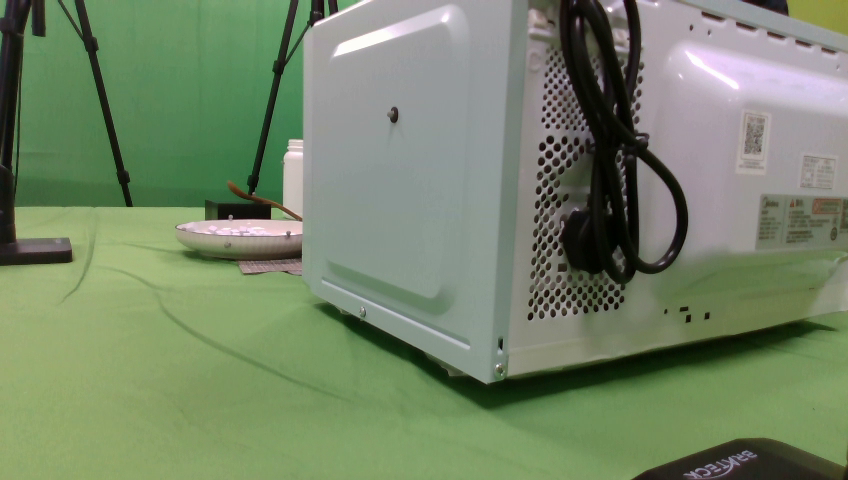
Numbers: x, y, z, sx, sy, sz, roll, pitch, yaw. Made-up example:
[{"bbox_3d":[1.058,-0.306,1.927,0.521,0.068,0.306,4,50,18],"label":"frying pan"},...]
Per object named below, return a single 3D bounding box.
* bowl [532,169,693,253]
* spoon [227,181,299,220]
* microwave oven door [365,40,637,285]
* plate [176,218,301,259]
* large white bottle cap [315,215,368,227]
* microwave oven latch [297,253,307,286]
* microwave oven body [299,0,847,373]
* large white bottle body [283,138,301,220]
[{"bbox_3d":[0.181,-0.030,0.596,0.151,0.077,0.151,1,6,0],"label":"bowl"},{"bbox_3d":[-0.315,-0.074,1.235,0.195,0.021,0.041,24,-10,-37],"label":"spoon"},{"bbox_3d":[0.105,-0.081,0.693,0.358,0.243,0.039,-2,9,-30],"label":"microwave oven door"},{"bbox_3d":[-0.248,-0.003,0.877,0.209,0.038,0.209,1,8,0],"label":"plate"},{"bbox_3d":[-0.177,-0.041,1.308,0.115,0.018,0.115,2,6,0],"label":"large white bottle cap"},{"bbox_3d":[-0.081,0.028,0.581,0.079,0.029,0.030,-1,7,-30],"label":"microwave oven latch"},{"bbox_3d":[0.151,-0.055,0.542,0.444,0.260,0.324,-2,7,-33],"label":"microwave oven body"},{"bbox_3d":[-0.265,-0.143,1.423,0.131,0.184,0.130,2,7,0],"label":"large white bottle body"}]
